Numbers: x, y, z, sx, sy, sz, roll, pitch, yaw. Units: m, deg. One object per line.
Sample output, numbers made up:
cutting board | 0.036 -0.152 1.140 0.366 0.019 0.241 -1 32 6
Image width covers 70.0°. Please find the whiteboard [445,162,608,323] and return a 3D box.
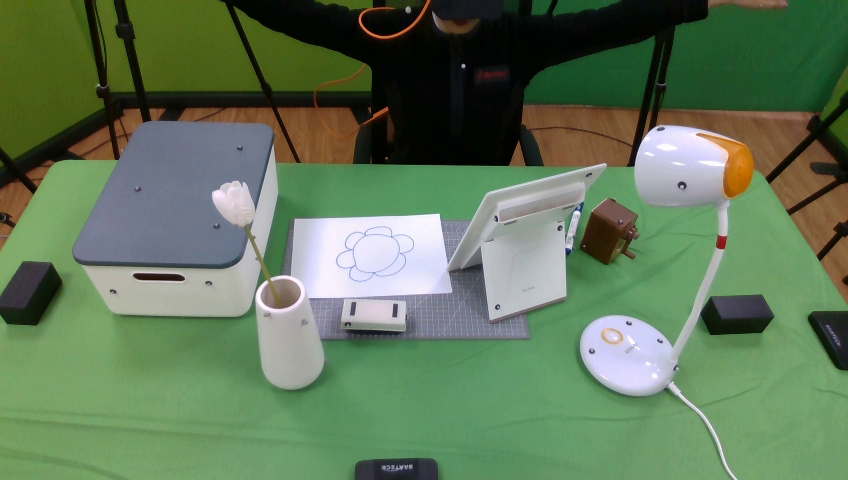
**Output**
whiteboard | 0.186 0.025 1.029 0.217 0.306 0.143 -14 68 -17

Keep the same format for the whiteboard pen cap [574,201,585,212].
whiteboard pen cap | 0.327 -0.069 1.278 0.018 0.018 0.033 18 51 13

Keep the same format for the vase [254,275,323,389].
vase | -0.209 0.143 0.921 0.098 0.201 0.097 1 46 -1

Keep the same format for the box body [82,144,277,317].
box body | -0.422 -0.041 1.108 0.254 0.161 0.361 2 46 -3

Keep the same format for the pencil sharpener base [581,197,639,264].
pencil sharpener base | 0.362 -0.017 1.179 0.076 0.107 0.061 37 54 27

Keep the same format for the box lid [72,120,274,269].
box lid | -0.417 -0.094 1.056 0.263 0.015 0.369 1 47 -3

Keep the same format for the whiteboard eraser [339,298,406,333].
whiteboard eraser | -0.087 0.131 1.045 0.113 0.042 0.055 3 48 -2

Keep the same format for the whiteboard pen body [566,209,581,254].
whiteboard pen body | 0.307 -0.026 1.241 0.017 0.017 0.140 16 51 11

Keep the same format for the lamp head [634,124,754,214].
lamp head | 0.351 -0.089 0.776 0.112 0.113 0.122 -30 30 -28

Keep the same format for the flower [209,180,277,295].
flower | -0.217 0.075 0.872 0.044 0.363 0.038 -29 36 -19

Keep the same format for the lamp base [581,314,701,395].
lamp base | 0.361 0.144 0.973 0.178 0.181 0.160 34 53 23

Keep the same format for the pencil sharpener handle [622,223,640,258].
pencil sharpener handle | 0.397 0.003 1.146 0.030 0.068 0.036 37 47 27
